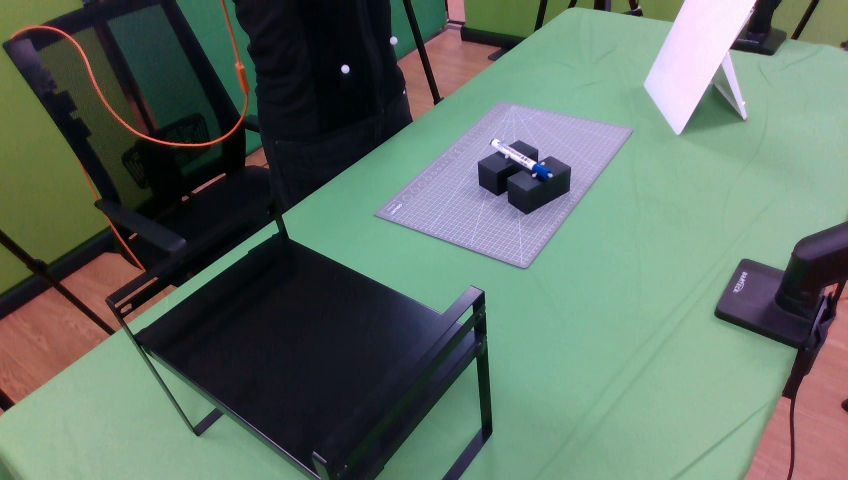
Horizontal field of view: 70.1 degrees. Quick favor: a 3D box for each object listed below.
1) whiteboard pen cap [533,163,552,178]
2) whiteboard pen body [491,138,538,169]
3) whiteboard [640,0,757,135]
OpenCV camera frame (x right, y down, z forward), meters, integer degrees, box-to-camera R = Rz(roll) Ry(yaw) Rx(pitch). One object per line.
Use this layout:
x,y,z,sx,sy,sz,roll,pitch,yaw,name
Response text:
0.196,-0.116,1.003,0.018,0.018,0.033,-28,42,-22,whiteboard pen cap
0.163,-0.145,1.041,0.017,0.017,0.139,-27,43,-22,whiteboard pen body
0.575,-0.367,1.147,0.144,0.305,0.216,10,39,-9,whiteboard
